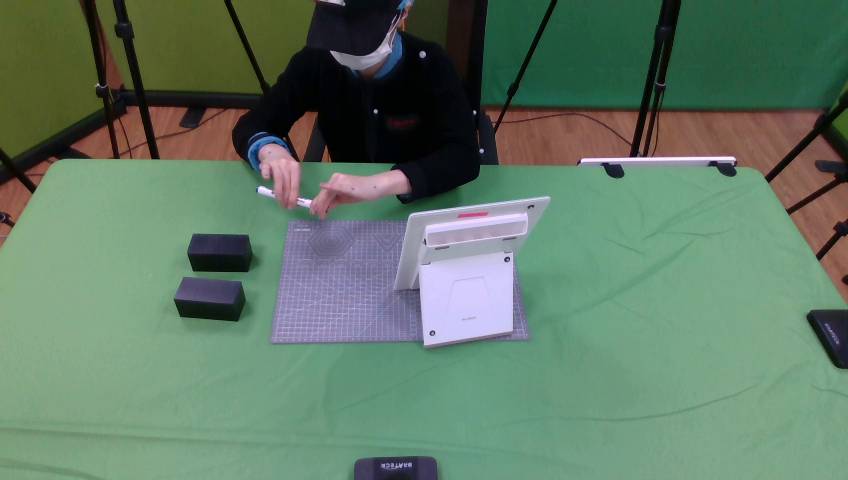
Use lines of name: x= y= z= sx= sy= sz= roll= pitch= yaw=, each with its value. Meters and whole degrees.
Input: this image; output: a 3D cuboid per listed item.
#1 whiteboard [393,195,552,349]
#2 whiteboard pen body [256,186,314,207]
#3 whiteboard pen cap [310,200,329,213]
whiteboard: x=0.077 y=0.071 z=0.977 sx=0.217 sy=0.306 sz=0.143 roll=-7 pitch=66 yaw=-11
whiteboard pen body: x=-0.247 y=-0.079 z=1.124 sx=0.140 sy=0.017 sz=0.017 roll=15 pitch=47 yaw=13
whiteboard pen cap: x=-0.192 y=-0.062 z=1.111 sx=0.032 sy=0.017 sz=0.017 roll=15 pitch=47 yaw=13
